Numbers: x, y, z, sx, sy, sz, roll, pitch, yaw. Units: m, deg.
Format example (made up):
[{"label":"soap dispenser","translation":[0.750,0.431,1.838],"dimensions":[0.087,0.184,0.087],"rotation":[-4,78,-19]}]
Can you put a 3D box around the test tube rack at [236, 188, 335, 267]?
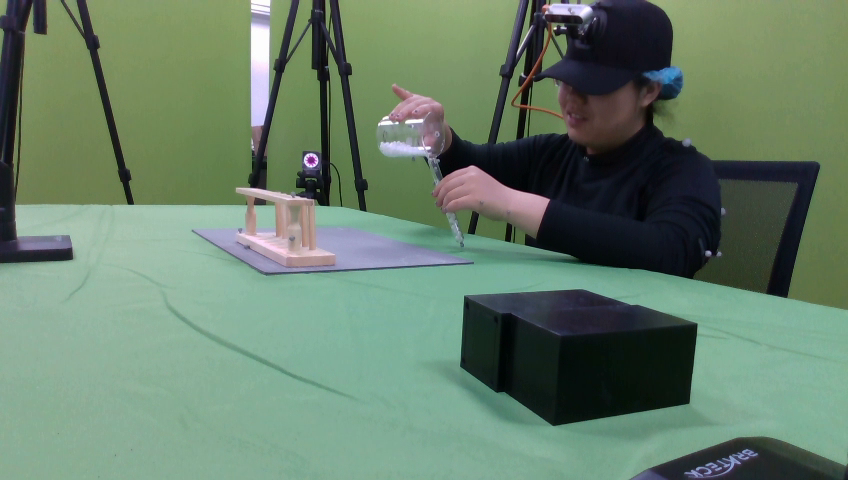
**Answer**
[{"label":"test tube rack","translation":[-0.202,-0.024,0.855],"dimensions":[0.067,0.085,0.241],"rotation":[-2,9,-31]}]

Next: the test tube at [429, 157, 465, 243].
[{"label":"test tube","translation":[0.038,-0.066,0.994],"dimensions":[0.017,0.150,0.017],"rotation":[-19,-6,-2]}]

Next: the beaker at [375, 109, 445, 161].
[{"label":"beaker","translation":[-0.025,-0.175,1.023],"dimensions":[0.100,0.084,0.074],"rotation":[3,5,32]}]
